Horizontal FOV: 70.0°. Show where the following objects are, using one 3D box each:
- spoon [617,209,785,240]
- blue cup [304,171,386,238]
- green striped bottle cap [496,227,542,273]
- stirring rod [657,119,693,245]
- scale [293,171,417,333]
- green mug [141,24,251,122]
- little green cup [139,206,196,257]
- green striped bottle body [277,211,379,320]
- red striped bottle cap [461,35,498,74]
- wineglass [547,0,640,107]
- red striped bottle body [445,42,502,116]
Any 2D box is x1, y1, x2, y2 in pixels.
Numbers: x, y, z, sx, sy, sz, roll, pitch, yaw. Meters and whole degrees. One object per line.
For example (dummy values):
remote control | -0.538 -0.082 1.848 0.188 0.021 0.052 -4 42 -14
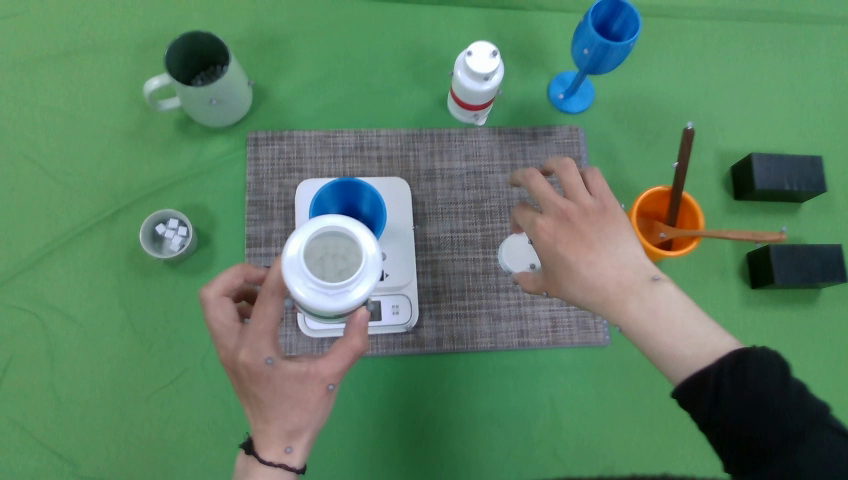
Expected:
spoon | 0.330 -0.016 0.739 0.022 0.192 0.041 18 81 -45
blue cup | -0.088 -0.024 0.698 0.093 0.100 0.092 1 79 -6
green striped bottle cap | 0.095 0.010 0.604 0.044 0.020 0.044 2 77 -10
stirring rod | 0.309 -0.066 0.749 0.014 0.178 0.006 3 36 10
scale | -0.087 0.012 0.757 0.149 0.031 0.200 -3 78 -5
green mug | -0.287 -0.200 0.756 0.125 0.105 0.092 -24 80 -9
little green cup | -0.312 -0.008 0.745 0.061 0.039 0.061 1 77 -5
green striped bottle body | -0.065 0.019 0.409 0.063 0.119 0.063 2 78 -9
red striped bottle cap | 0.067 -0.223 0.725 0.044 0.018 0.044 1 74 -3
wineglass | 0.209 -0.237 0.767 0.074 0.173 0.073 1 77 -3
red striped bottle body | 0.063 -0.211 0.778 0.063 0.120 0.062 1 77 -4
